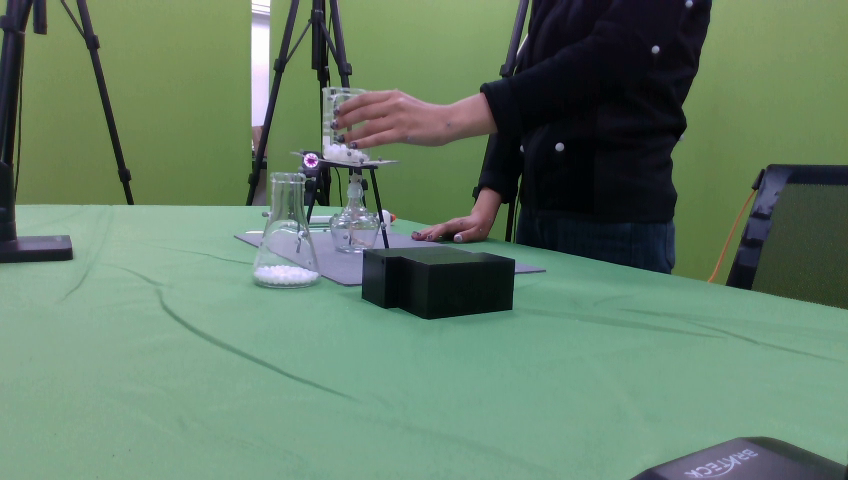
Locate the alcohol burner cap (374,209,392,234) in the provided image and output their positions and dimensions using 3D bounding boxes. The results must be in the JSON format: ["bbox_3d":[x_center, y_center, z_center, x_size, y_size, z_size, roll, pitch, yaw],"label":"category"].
[{"bbox_3d":[-0.078,-0.035,1.148,0.034,0.048,0.034,2,7,0],"label":"alcohol burner cap"}]

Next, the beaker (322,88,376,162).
[{"bbox_3d":[-0.113,-0.164,0.872,0.083,0.100,0.074,8,9,38],"label":"beaker"}]

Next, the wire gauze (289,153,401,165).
[{"bbox_3d":[-0.113,-0.116,0.884,0.124,0.011,0.122,8,8,28],"label":"wire gauze"}]

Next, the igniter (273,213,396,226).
[{"bbox_3d":[-0.179,-0.044,1.258,0.278,0.025,0.057,-3,-1,-38],"label":"igniter"}]

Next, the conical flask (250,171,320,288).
[{"bbox_3d":[-0.150,-0.013,0.658,0.075,0.122,0.075,2,7,0],"label":"conical flask"}]

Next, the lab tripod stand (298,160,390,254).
[{"bbox_3d":[-0.111,-0.050,0.893,0.148,0.131,0.148,4,6,0],"label":"lab tripod stand"}]

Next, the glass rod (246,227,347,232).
[{"bbox_3d":[-0.236,-0.021,1.141,0.201,0.008,0.008,-2,8,-33],"label":"glass rod"}]

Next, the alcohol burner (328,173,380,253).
[{"bbox_3d":[-0.104,-0.041,0.902,0.078,0.119,0.078,0,7,0],"label":"alcohol burner"}]
